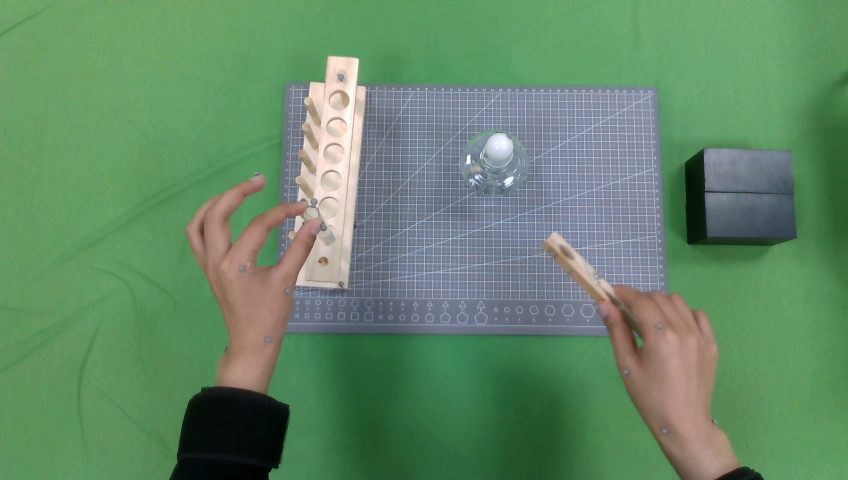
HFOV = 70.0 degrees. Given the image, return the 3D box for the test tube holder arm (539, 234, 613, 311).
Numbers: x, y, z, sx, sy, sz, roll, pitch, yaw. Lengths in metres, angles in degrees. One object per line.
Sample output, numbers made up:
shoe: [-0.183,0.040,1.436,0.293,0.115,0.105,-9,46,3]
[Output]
test tube holder arm: [0.141,0.030,0.556,0.087,0.015,0.010,45,67,5]

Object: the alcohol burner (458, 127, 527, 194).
alcohol burner: [0.076,-0.091,0.662,0.078,0.119,0.077,0,82,1]

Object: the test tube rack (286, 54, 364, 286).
test tube rack: [-0.113,-0.074,0.670,0.067,0.085,0.241,4,81,0]

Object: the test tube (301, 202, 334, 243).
test tube: [-0.103,-0.011,0.610,0.017,0.151,0.017,0,78,0]

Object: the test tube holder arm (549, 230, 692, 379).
test tube holder arm: [0.176,0.059,0.554,0.178,0.015,0.013,45,67,5]

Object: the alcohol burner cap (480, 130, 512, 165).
alcohol burner cap: [0.075,-0.097,0.626,0.034,0.048,0.034,0,86,2]
